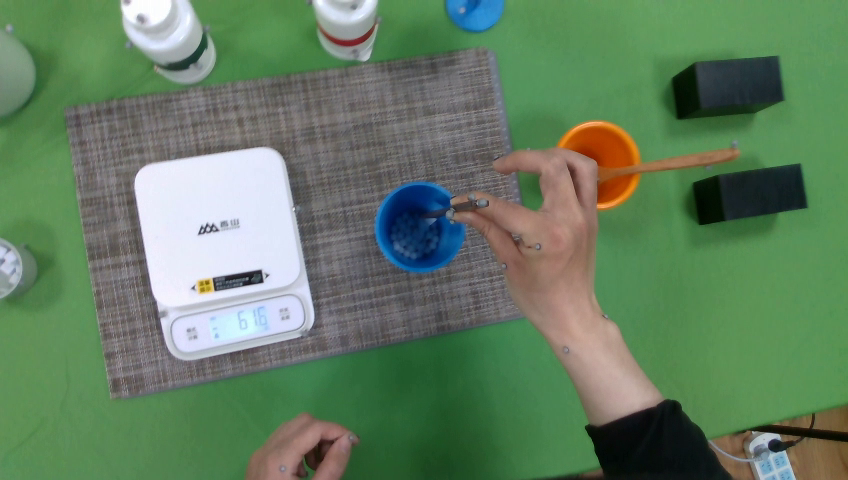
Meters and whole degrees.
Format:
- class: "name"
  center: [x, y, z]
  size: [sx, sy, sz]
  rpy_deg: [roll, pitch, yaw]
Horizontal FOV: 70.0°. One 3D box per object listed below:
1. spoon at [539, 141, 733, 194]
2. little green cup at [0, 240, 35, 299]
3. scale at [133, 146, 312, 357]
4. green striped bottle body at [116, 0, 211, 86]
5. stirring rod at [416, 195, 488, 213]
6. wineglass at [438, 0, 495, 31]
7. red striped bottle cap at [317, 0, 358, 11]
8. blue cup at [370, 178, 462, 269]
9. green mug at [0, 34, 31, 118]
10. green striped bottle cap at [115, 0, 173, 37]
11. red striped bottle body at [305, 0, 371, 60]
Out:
- class: "spoon"
  center: [0.208, -0.076, 0.618]
  size: [0.022, 0.193, 0.041]
  rpy_deg: [-10, 94, -51]
- class: "little green cup"
  center: [-0.419, 0.029, 0.595]
  size: [0.062, 0.038, 0.061]
  rpy_deg: [1, 86, -7]
- class: "scale"
  center: [-0.205, 0.011, 0.620]
  size: [0.149, 0.031, 0.200]
  rpy_deg: [-12, 89, -7]
- class: "green striped bottle body"
  center: [-0.251, -0.197, 0.586]
  size: [0.063, 0.119, 0.063]
  rpy_deg: [0, 86, -6]
- class: "stirring rod"
  center: [0.017, -0.027, 0.488]
  size: [0.014, 0.175, 0.006]
  rpy_deg: [-4, 91, -13]
- class: "wineglass"
  center: [0.056, -0.274, 0.599]
  size: [0.074, 0.172, 0.073]
  rpy_deg: [0, 86, -6]
- class: "red striped bottle cap"
  center: [-0.080, -0.234, 0.554]
  size: [0.044, 0.018, 0.044]
  rpy_deg: [1, 85, -6]
- class: "blue cup"
  center: [-0.011, -0.013, 0.609]
  size: [0.093, 0.100, 0.092]
  rpy_deg: [0, 87, -5]
- class: "green mug"
  center: [-0.447, -0.152, 0.569]
  size: [0.093, 0.105, 0.125]
  rpy_deg: [24, 84, -5]
- class: "green striped bottle cap"
  center: [-0.245, -0.202, 0.531]
  size: [0.044, 0.020, 0.044]
  rpy_deg: [0, 87, -4]
- class: "red striped bottle body"
  center: [-0.085, -0.231, 0.607]
  size: [0.063, 0.119, 0.063]
  rpy_deg: [0, 86, -7]
